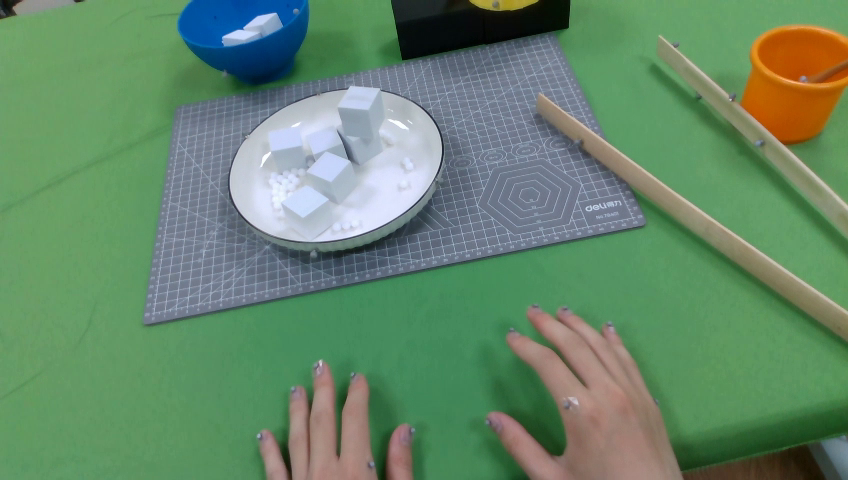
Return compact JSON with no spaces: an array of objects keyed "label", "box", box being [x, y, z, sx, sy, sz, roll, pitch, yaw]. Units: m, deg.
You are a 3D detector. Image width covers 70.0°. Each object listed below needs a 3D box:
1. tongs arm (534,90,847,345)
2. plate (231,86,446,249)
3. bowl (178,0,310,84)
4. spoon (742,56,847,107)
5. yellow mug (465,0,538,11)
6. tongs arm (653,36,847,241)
[{"label":"tongs arm","box":[0.229,-0.029,0.521,0.028,0.028,0.383,-31,56,-20]},{"label":"plate","box":[-0.080,-0.071,0.592,0.207,0.039,0.205,-4,52,6]},{"label":"bowl","box":[-0.201,-0.239,0.717,0.151,0.077,0.150,-4,52,6]},{"label":"spoon","box":[0.368,-0.152,0.521,0.041,0.193,0.022,-45,103,-26]},{"label":"yellow mug","box":[0.073,-0.309,0.673,0.131,0.064,0.099,-8,52,3]},{"label":"tongs arm","box":[0.301,-0.064,0.536,0.051,0.027,0.380,-22,54,-10]}]
